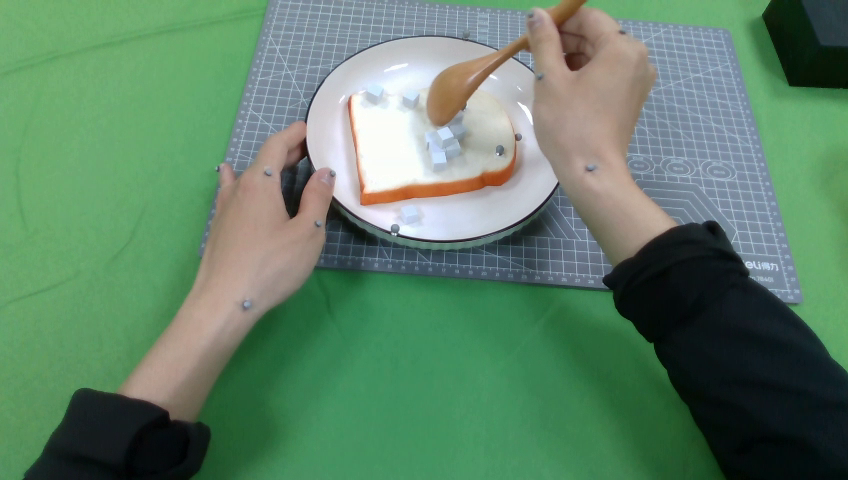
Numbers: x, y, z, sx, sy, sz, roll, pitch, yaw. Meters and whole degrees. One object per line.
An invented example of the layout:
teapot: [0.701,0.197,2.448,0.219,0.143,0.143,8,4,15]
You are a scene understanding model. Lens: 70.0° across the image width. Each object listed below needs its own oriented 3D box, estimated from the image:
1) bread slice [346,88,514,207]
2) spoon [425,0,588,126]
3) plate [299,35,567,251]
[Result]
bread slice: [0.005,-0.081,0.490,0.132,0.019,0.104,-10,62,-7]
spoon: [0.067,-0.142,0.427,0.022,0.193,0.041,15,54,-48]
plate: [0.007,-0.078,0.484,0.209,0.038,0.207,2,60,-3]
